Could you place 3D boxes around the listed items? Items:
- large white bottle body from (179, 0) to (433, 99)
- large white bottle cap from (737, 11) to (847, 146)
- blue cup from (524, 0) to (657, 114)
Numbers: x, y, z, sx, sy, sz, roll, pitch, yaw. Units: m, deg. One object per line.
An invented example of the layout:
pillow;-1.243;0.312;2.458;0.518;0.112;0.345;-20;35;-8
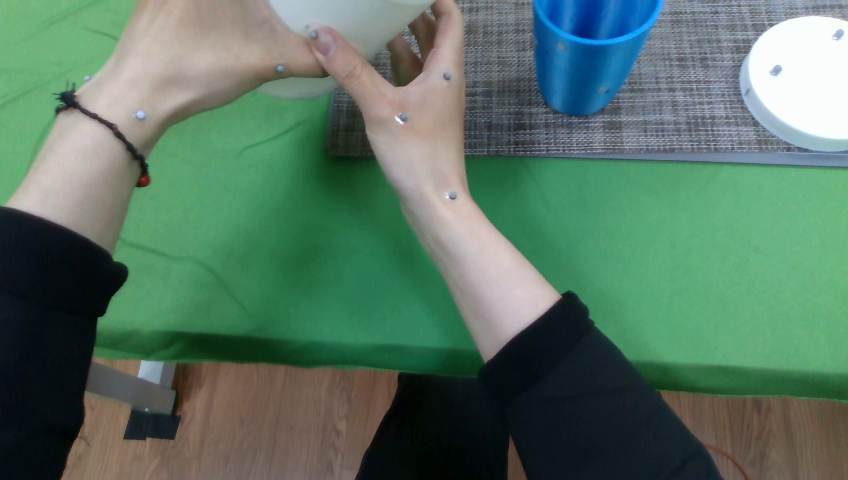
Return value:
large white bottle body;-0.060;-0.182;0.374;0.132;0.184;0.130;14;68;-37
large white bottle cap;0.301;-0.125;0.462;0.115;0.018;0.114;-1;68;4
blue cup;0.115;-0.144;0.440;0.092;0.101;0.092;-2;68;6
